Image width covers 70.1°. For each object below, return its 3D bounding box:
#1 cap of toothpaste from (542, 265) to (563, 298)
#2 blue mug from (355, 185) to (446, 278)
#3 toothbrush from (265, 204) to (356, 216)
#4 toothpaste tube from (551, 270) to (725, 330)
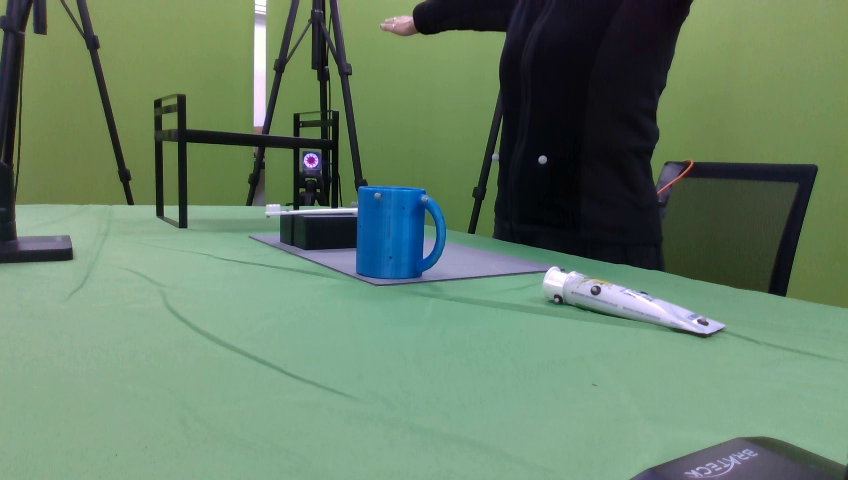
[{"bbox_3d":[0.137,0.044,0.630,0.011,0.037,0.037,13,13,40],"label":"cap of toothpaste"},{"bbox_3d":[-0.027,-0.011,0.723,0.116,0.106,0.083,7,8,27],"label":"blue mug"},{"bbox_3d":[-0.160,-0.048,0.937,0.183,0.016,0.014,-4,5,-39],"label":"toothbrush"},{"bbox_3d":[0.193,0.058,0.578,0.164,0.034,0.055,13,17,40],"label":"toothpaste tube"}]
